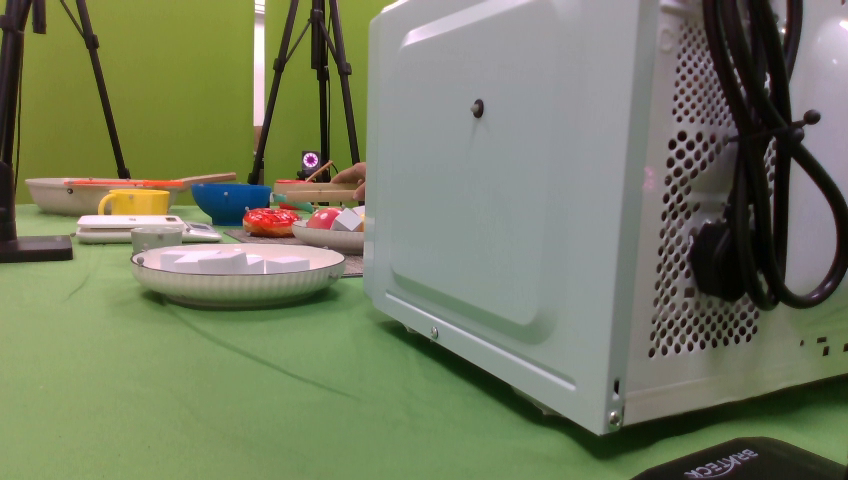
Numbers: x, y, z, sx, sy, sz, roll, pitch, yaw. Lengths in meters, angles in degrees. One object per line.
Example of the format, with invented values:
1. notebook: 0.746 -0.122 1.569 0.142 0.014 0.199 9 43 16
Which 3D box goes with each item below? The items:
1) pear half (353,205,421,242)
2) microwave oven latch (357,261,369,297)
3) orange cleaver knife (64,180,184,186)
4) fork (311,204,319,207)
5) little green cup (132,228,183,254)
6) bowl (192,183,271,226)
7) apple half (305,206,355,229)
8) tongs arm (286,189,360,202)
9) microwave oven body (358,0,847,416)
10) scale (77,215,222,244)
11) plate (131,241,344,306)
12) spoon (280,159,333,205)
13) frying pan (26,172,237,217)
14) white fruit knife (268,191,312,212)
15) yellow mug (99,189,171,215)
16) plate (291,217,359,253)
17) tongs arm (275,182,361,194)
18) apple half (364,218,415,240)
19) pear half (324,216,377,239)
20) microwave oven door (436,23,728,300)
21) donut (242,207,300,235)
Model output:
1. pear half: -0.051 -0.024 0.905 0.110 0.056 0.076 1 -1 -38
2. microwave oven latch: -0.019 0.033 0.531 0.079 0.029 0.030 -1 7 -27
3. orange cleaver knife: -0.595 -0.114 1.212 0.212 0.012 0.077 -4 6 -41
4. fork: -0.356 -0.105 1.526 0.208 0.018 0.028 16 -5 -41
5. little green cup: -0.342 0.006 0.779 0.061 0.038 0.061 2 8 0
6. bowl: -0.382 -0.071 1.202 0.151 0.077 0.151 3 7 0
7. apple half: -0.138 -0.025 0.917 0.081 0.053 0.074 0 10 -43
8. tongs arm: -0.130 -0.109 1.369 0.387 0.026 0.050 -4 16 -30
9. microwave oven body: 0.211 -0.047 0.475 0.444 0.260 0.324 -1 7 -28
10. scale: -0.434 -0.019 0.963 0.202 0.031 0.148 -1 9 -27
11. plate: -0.187 0.033 0.625 0.208 0.039 0.207 2 7 0
12. spoon: -0.316 -0.159 1.640 0.194 0.022 0.041 -50 32 -20
13. frying pan: -0.624 -0.118 1.387 0.305 0.102 0.490 8 17 32
14. white fruit knife: -0.364 -0.105 1.464 0.208 0.027 0.016 15 -1 -34
15. yellow mug: -0.519 -0.055 1.080 0.099 0.064 0.131 7 9 26
16. plate: -0.103 -0.009 0.945 0.209 0.038 0.209 2 7 0
17. tongs arm: -0.153 -0.121 1.407 0.389 0.028 0.028 -3 12 -27
18. apple half: -0.054 -0.019 0.967 0.081 0.033 0.081 -4 9 1
19. pear half: -0.119 -0.023 0.996 0.088 0.031 0.070 -4 23 -27
20. microwave oven door: 0.180 -0.072 0.621 0.358 0.243 0.039 -2 9 -29
21. donut: -0.263 -0.031 1.039 0.099 0.048 0.099 4 9 0
